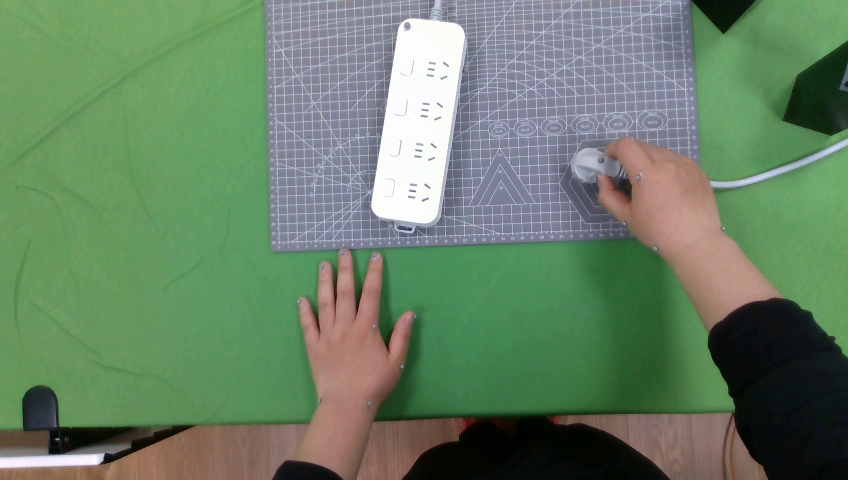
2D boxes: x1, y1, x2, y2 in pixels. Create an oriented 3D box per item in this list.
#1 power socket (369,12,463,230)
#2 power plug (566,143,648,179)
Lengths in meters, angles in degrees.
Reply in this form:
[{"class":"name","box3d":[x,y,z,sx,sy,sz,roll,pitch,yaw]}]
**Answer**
[{"class":"power socket","box3d":[-0.008,-0.124,0.626,0.072,0.032,0.226,8,88,5]},{"class":"power plug","box3d":[0.176,-0.069,0.604,0.073,0.052,0.035,31,86,-11]}]
